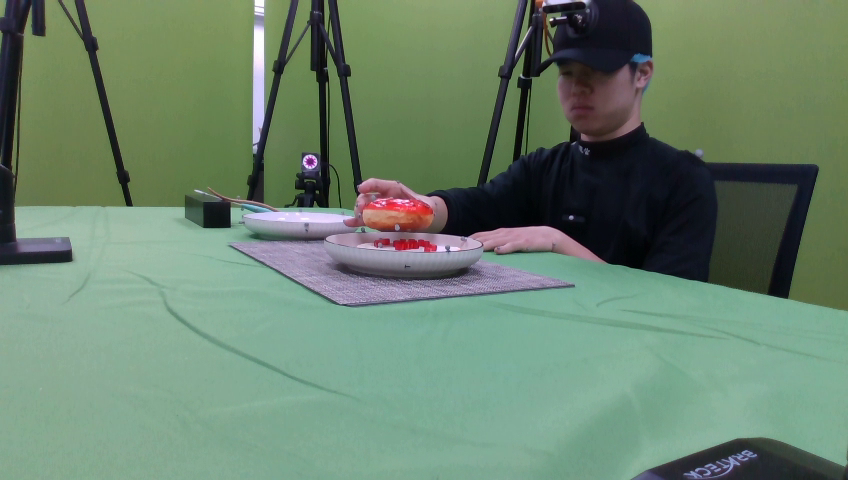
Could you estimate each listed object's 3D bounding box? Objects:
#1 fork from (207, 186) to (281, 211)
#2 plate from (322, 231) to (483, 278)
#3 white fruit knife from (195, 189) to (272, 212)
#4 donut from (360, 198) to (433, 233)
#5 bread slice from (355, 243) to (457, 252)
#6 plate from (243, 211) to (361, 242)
[{"bbox_3d":[-0.342,-0.070,1.244,0.208,0.018,0.028,18,-4,-24],"label":"fork"},{"bbox_3d":[-0.028,0.018,0.789,0.209,0.038,0.209,3,7,0],"label":"plate"},{"bbox_3d":[-0.378,-0.073,1.270,0.208,0.016,0.027,18,-4,-32],"label":"white fruit knife"},{"bbox_3d":[-0.037,-0.033,0.810,0.099,0.048,0.099,1,1,0],"label":"donut"},{"bbox_3d":[-0.027,0.020,0.793,0.131,0.019,0.105,6,7,18],"label":"bread slice"},{"bbox_3d":[-0.219,-0.025,1.091,0.208,0.039,0.207,3,7,0],"label":"plate"}]
